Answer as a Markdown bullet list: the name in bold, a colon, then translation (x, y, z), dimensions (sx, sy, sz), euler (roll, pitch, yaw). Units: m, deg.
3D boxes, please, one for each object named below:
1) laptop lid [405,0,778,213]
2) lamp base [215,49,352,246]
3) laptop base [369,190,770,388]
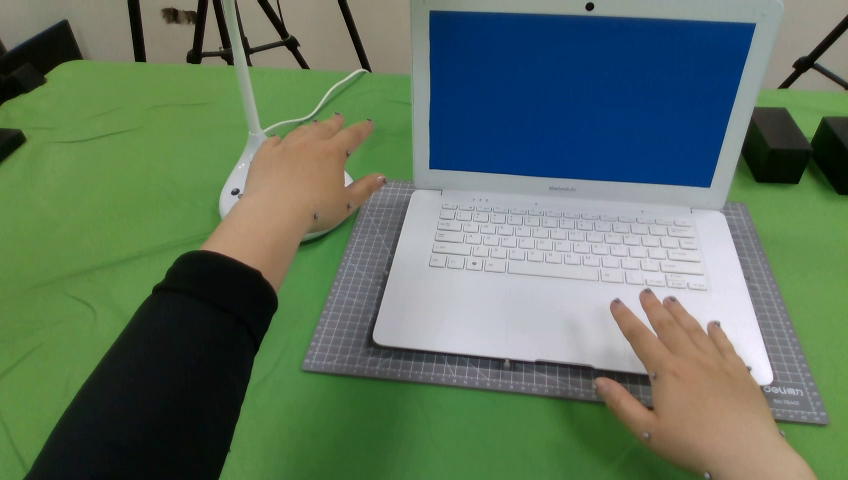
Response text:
- **laptop lid**: translation (0.155, -0.138, 0.640), dimensions (0.356, 0.244, 0.013), euler (3, 34, 8)
- **lamp base**: translation (-0.177, -0.111, 0.678), dimensions (0.160, 0.182, 0.177), euler (-32, 47, -30)
- **laptop base**: translation (0.138, 0.039, 0.619), dimensions (0.354, 0.023, 0.233), euler (4, 45, 7)
